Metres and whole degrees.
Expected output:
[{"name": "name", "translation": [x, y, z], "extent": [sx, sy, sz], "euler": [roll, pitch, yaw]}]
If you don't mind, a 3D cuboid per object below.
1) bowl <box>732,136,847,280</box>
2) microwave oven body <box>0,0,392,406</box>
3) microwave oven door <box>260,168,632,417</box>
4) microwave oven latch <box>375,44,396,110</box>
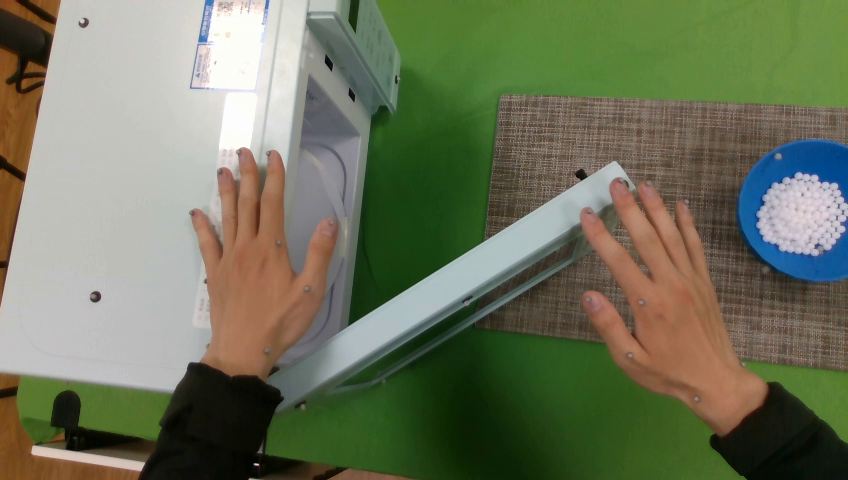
[{"name": "bowl", "translation": [0.405, -0.028, 0.656], "extent": [0.151, 0.077, 0.151], "euler": [-2, 81, 10]}, {"name": "microwave oven body", "translation": [-0.231, -0.060, 0.685], "extent": [0.325, 0.261, 0.440], "euler": [3, 82, 10]}, {"name": "microwave oven door", "translation": [0.035, 0.064, 0.611], "extent": [0.356, 0.245, 0.039], "euler": [-33, 75, 4]}, {"name": "microwave oven latch", "translation": [-0.052, -0.209, 0.776], "extent": [0.030, 0.029, 0.079], "euler": [3, 82, 11]}]
